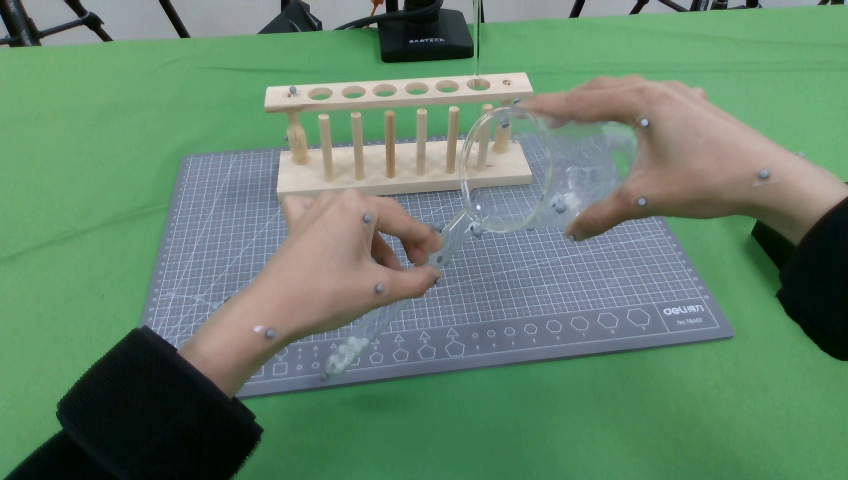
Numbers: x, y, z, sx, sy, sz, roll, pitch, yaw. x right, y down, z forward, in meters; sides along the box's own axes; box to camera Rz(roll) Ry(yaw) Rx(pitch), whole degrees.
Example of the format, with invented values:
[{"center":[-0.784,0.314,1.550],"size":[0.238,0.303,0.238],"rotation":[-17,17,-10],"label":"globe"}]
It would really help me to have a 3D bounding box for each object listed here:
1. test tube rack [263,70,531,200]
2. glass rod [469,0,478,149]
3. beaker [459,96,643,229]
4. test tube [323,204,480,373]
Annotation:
[{"center":[-0.022,-0.100,0.574],"size":[0.243,0.086,0.066],"rotation":[-5,45,-5],"label":"test tube rack"},{"center":[0.045,-0.173,0.554],"size":[0.008,0.201,0.008],"rotation":[-1,38,2],"label":"glass rod"},{"center":[0.082,-0.044,0.381],"size":[0.101,0.084,0.073],"rotation":[-4,46,-37],"label":"beaker"},{"center":[-0.018,0.035,0.393],"size":[0.017,0.150,0.017],"rotation":[38,18,-14],"label":"test tube"}]
